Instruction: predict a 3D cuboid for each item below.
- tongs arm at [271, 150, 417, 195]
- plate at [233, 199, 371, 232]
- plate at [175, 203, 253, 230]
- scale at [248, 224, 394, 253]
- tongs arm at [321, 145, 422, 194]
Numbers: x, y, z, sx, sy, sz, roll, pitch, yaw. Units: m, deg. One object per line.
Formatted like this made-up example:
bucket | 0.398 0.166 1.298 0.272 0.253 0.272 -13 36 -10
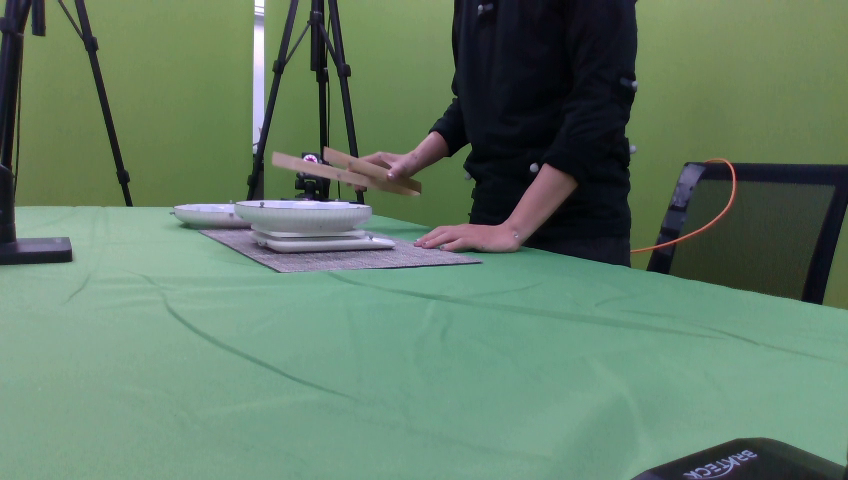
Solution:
tongs arm | -0.148 -0.136 1.253 0.050 0.026 0.387 -2 -7 36
plate | -0.188 -0.039 0.939 0.209 0.038 0.209 2 7 0
plate | -0.381 -0.047 1.199 0.208 0.039 0.207 3 7 0
scale | -0.162 -0.006 0.954 0.202 0.031 0.148 -2 8 -32
tongs arm | -0.091 -0.135 1.215 0.028 0.027 0.389 -5 -7 26
